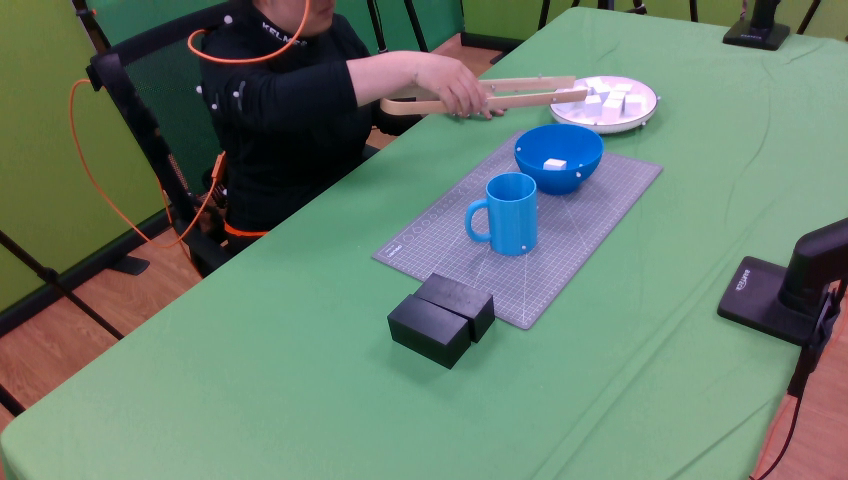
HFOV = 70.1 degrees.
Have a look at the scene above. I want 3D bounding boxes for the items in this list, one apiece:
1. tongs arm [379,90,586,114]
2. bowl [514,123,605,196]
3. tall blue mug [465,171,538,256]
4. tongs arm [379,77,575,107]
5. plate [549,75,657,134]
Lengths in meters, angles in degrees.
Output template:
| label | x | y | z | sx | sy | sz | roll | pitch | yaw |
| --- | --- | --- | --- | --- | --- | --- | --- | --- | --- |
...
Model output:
| label | x | y | z | sx | sy | sz | roll | pitch | yaw |
| --- | --- | --- | --- | --- | --- | --- | --- | --- | --- |
| tongs arm | 0.113 | -0.253 | 1.097 | 0.389 | 0.028 | 0.028 | -5 | 48 | -12 |
| bowl | 0.232 | -0.131 | 1.046 | 0.151 | 0.077 | 0.150 | -5 | 40 | 5 |
| tall blue mug | 0.125 | -0.033 | 0.925 | 0.107 | 0.108 | 0.077 | -32 | 46 | -25 |
| tongs arm | 0.106 | -0.275 | 1.120 | 0.386 | 0.026 | 0.050 | -4 | 44 | -11 |
| plate | 0.357 | -0.269 | 1.220 | 0.209 | 0.038 | 0.208 | -5 | 40 | 5 |
